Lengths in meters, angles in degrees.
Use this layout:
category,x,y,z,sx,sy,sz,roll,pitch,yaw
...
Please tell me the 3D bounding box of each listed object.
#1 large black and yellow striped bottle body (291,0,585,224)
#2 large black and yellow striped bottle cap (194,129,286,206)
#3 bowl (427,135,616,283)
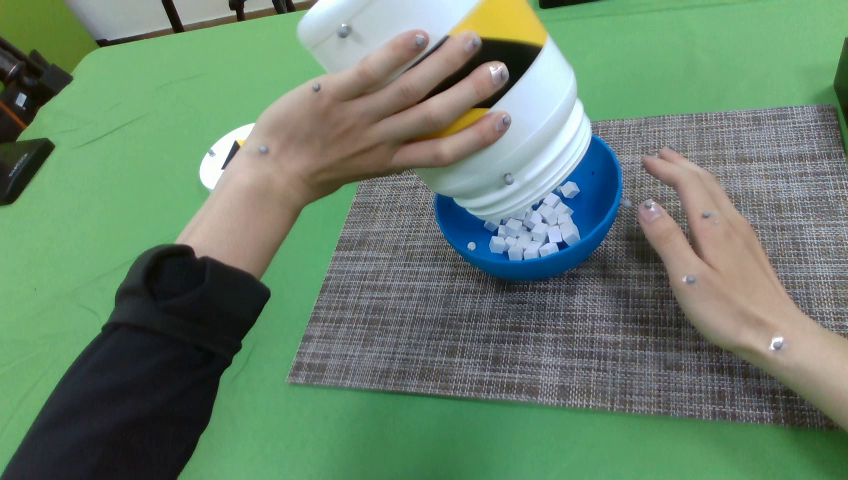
category,x,y,z,sx,sy,sz,roll,pitch,yaw
large black and yellow striped bottle body,0.017,-0.110,0.418,0.131,0.185,0.129,-34,26,20
large black and yellow striped bottle cap,-0.223,-0.090,0.732,0.115,0.019,0.114,-10,50,12
bowl,0.085,-0.017,0.509,0.151,0.077,0.150,-10,51,13
